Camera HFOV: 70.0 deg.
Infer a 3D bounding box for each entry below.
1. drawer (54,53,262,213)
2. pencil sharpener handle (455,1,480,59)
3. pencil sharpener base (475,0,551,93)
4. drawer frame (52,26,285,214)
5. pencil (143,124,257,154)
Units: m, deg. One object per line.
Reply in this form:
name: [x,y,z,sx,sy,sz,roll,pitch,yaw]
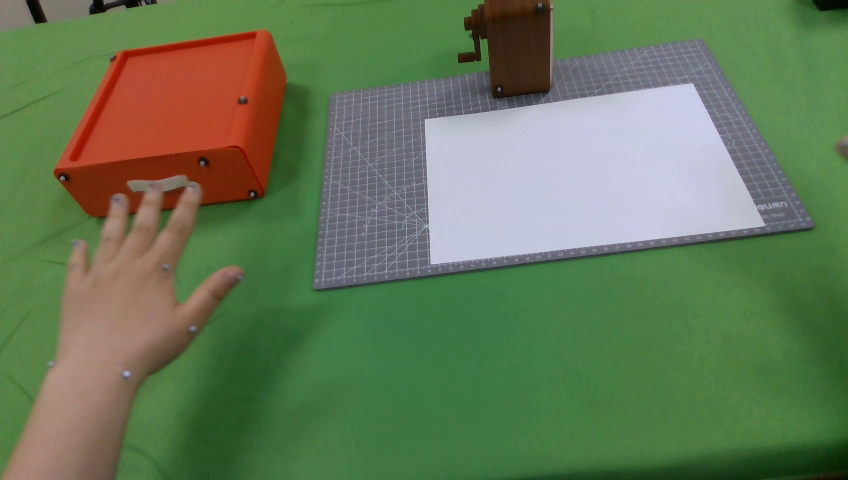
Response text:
drawer: [-0.274,-0.136,0.687,0.194,0.074,0.209,-7,49,5]
pencil sharpener handle: [0.046,-0.228,0.668,0.030,0.068,0.035,-6,56,7]
pencil sharpener base: [0.098,-0.224,0.671,0.076,0.108,0.061,-6,51,7]
drawer frame: [-0.275,-0.138,0.687,0.201,0.083,0.211,-7,50,5]
pencil: [-0.269,-0.121,0.712,0.192,0.012,0.012,15,55,28]
